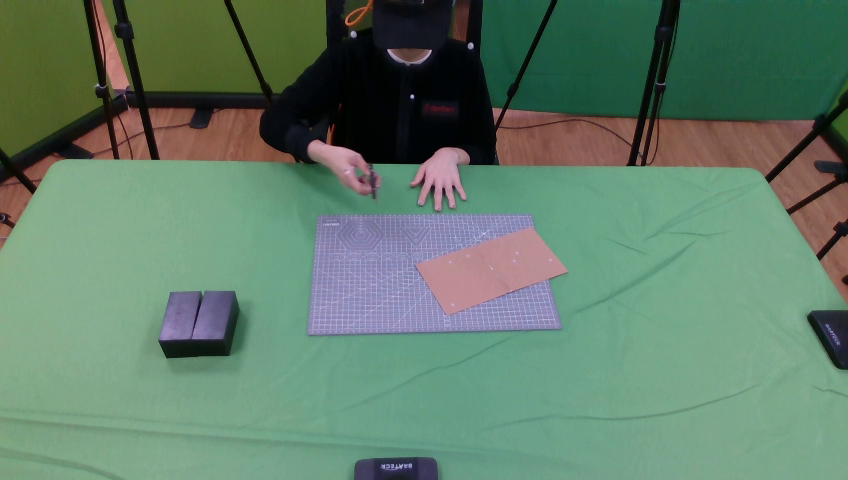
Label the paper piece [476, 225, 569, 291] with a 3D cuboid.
[{"bbox_3d":[0.192,0.033,1.185,0.136,0.004,0.134,-17,50,-19],"label":"paper piece"}]

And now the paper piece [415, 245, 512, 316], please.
[{"bbox_3d":[0.072,0.071,1.140,0.138,0.009,0.135,-18,46,-18],"label":"paper piece"}]

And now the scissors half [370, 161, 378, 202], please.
[{"bbox_3d":[-0.092,-0.107,1.129,0.013,0.040,0.174,-2,30,-7],"label":"scissors half"}]

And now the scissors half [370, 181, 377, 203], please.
[{"bbox_3d":[-0.092,-0.088,1.137,0.013,0.040,0.174,-6,14,-5],"label":"scissors half"}]
